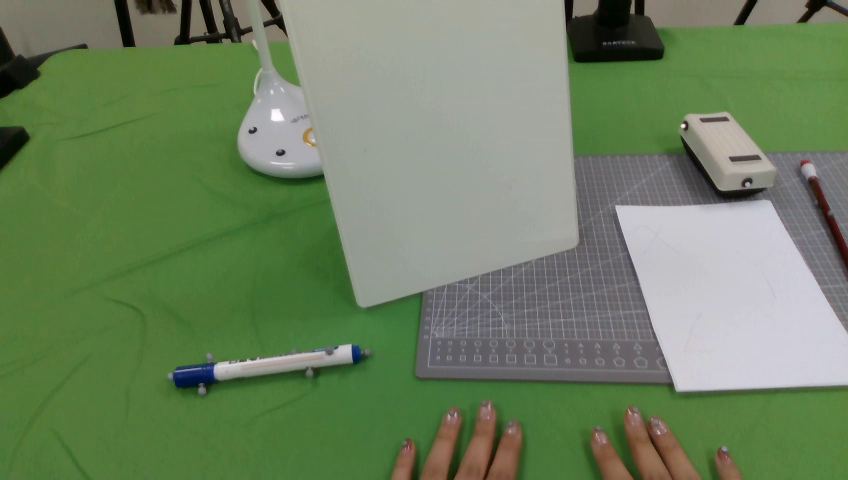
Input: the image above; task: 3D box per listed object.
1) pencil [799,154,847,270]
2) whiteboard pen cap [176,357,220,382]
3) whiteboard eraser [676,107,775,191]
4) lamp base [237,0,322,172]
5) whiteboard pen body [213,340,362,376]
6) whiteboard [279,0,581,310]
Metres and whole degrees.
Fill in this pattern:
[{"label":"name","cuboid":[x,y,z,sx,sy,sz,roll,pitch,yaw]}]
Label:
[{"label":"pencil","cuboid":[0.382,-0.018,0.567,0.012,0.012,0.192,3,46,9]},{"label":"whiteboard pen cap","cuboid":[-0.182,0.104,0.490,0.033,0.018,0.018,-8,44,-2]},{"label":"whiteboard eraser","cuboid":[0.309,-0.095,0.629,0.055,0.042,0.111,-7,44,0]},{"label":"lamp base","cuboid":[-0.157,-0.194,0.679,0.160,0.182,0.177,-36,49,-28]},{"label":"whiteboard pen body","cuboid":[-0.121,0.097,0.493,0.141,0.017,0.017,-7,44,-1]},{"label":"whiteboard","cuboid":[0.003,-0.128,0.547,0.217,0.308,0.142,-15,25,-9]}]
